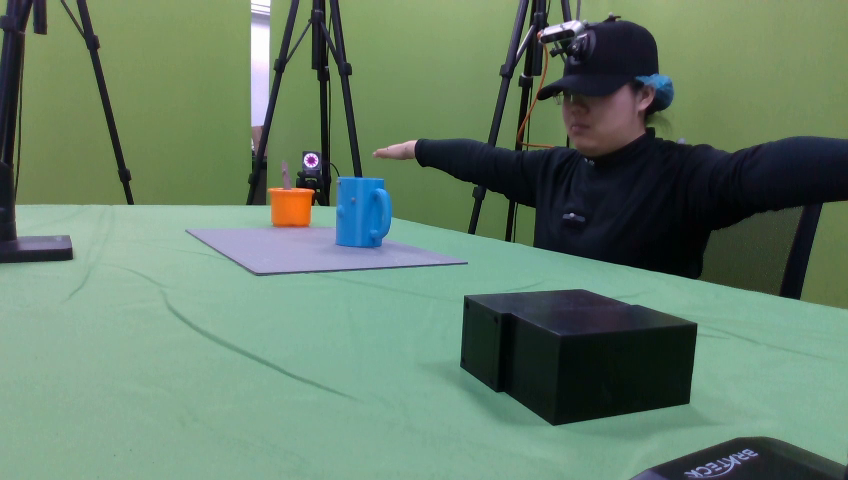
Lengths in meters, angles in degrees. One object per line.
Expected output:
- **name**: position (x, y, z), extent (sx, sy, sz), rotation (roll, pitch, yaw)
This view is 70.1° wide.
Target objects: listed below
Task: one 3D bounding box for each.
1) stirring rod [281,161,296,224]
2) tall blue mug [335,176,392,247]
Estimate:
- **stirring rod**: position (-0.278, -0.099, 1.239), extent (0.014, 0.006, 0.175), rotation (3, 49, -25)
- **tall blue mug**: position (-0.089, -0.046, 0.971), extent (0.107, 0.108, 0.078), rotation (5, 7, 20)
